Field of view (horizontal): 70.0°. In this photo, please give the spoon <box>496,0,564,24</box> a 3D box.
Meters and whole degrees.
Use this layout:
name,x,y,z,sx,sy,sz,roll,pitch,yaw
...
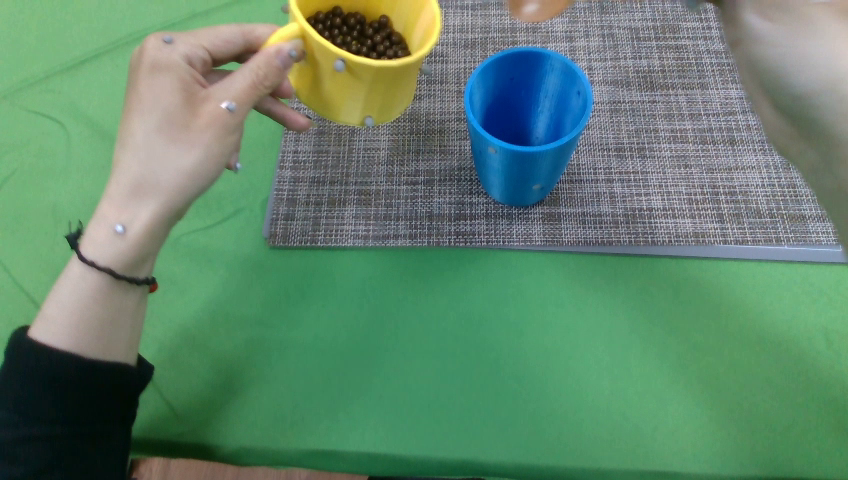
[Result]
name,x,y,z,sx,sy,sz,roll,pitch,yaw
spoon,0.094,-0.145,0.270,0.022,0.193,0.041,-7,90,-27

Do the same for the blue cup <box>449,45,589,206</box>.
name,x,y,z,sx,sy,sz,roll,pitch,yaw
blue cup,0.069,-0.074,0.443,0.092,0.101,0.092,-2,65,4

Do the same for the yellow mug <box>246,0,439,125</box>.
name,x,y,z,sx,sy,sz,roll,pitch,yaw
yellow mug,-0.058,-0.130,0.401,0.131,0.064,0.099,-31,80,-28
